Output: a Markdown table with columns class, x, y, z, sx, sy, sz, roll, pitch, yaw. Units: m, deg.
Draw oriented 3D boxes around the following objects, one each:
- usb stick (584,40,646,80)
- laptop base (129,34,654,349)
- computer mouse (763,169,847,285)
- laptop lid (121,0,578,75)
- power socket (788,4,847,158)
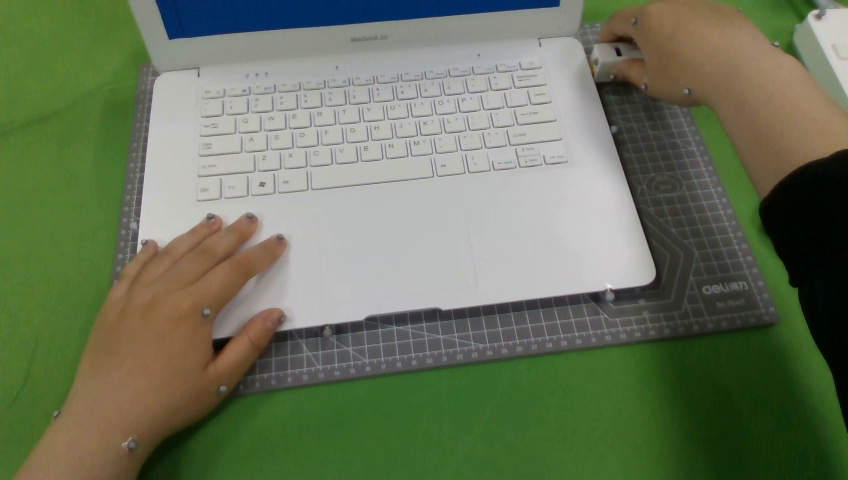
| class | x | y | z | sx | sy | sz | roll | pitch | yaw |
| --- | --- | --- | --- | --- | --- | --- | --- | --- | --- |
| usb stick | 0.150 | -0.148 | 0.500 | 0.059 | 0.027 | 0.021 | -5 | 63 | -1 |
| laptop base | -0.031 | -0.050 | 0.457 | 0.355 | 0.023 | 0.233 | -7 | 65 | -4 |
| computer mouse | 0.304 | -0.005 | 0.424 | 0.063 | 0.041 | 0.116 | -39 | 65 | -18 |
| laptop lid | -0.051 | -0.231 | 0.423 | 0.357 | 0.244 | 0.013 | -8 | 49 | -3 |
| power socket | 0.364 | -0.106 | 0.483 | 0.072 | 0.033 | 0.224 | -4 | 61 | -2 |
